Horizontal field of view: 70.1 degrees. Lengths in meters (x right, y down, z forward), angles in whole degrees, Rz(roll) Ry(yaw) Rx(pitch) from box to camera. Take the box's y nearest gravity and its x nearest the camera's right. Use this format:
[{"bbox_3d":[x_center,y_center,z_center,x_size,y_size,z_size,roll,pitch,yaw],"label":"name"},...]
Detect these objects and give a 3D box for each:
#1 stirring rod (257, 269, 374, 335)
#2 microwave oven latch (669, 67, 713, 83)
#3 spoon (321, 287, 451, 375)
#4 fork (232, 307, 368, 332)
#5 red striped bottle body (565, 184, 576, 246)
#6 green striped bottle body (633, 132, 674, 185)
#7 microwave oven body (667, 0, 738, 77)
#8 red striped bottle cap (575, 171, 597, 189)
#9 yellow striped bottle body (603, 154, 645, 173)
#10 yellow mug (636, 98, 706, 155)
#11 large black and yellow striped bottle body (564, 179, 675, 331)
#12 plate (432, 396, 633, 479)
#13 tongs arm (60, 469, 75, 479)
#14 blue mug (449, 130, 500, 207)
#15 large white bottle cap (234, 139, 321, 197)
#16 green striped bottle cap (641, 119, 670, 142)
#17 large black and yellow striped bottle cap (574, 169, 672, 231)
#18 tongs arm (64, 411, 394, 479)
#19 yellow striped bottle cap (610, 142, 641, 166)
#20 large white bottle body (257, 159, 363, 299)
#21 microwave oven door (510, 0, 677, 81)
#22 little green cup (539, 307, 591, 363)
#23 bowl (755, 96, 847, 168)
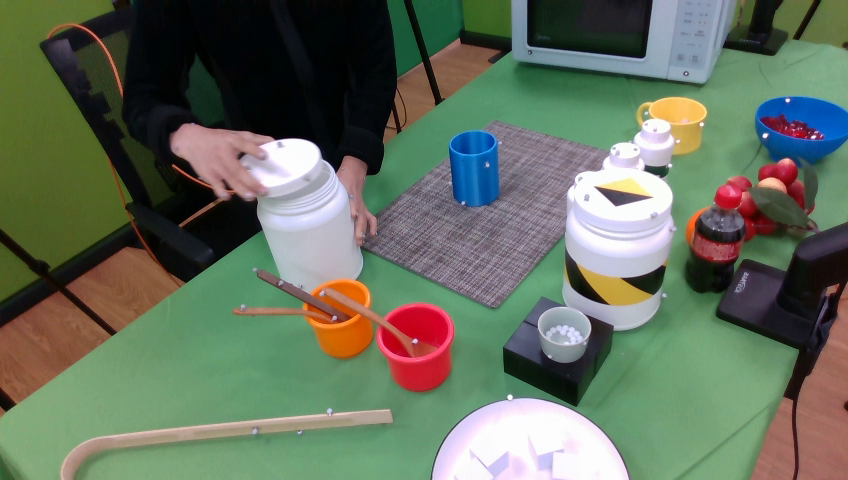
[{"bbox_3d":[-0.143,0.084,0.808,0.177,0.006,0.014,30,43,-19],"label":"stirring rod"},{"bbox_3d":[0.556,-0.348,1.262,0.078,0.029,0.030,15,46,26],"label":"microwave oven latch"},{"bbox_3d":[-0.046,0.111,0.757,0.194,0.021,0.041,38,46,-15],"label":"spoon"},{"bbox_3d":[-0.152,0.101,0.781,0.209,0.018,0.028,18,19,-45],"label":"fork"},{"bbox_3d":[0.247,-0.041,0.910,0.063,0.120,0.062,-3,39,3],"label":"red striped bottle body"},{"bbox_3d":[0.376,-0.135,1.001,0.063,0.120,0.063,-5,41,5],"label":"green striped bottle body"},{"bbox_3d":[0.462,-0.552,1.369,0.439,0.261,0.326,15,45,26],"label":"microwave oven body"},{"bbox_3d":[0.242,-0.081,0.876,0.044,0.018,0.044,-5,44,5],"label":"red striped bottle cap"},{"bbox_3d":[0.314,-0.091,0.957,0.063,0.121,0.062,-4,40,4],"label":"yellow striped bottle body"},{"bbox_3d":[0.453,-0.217,1.128,0.100,0.064,0.129,-34,46,-27],"label":"yellow mug"},{"bbox_3d":[0.253,0.014,0.793,0.131,0.185,0.130,-5,40,4],"label":"large black and yellow striped bottle body"},{"bbox_3d":[0.112,0.261,0.634,0.209,0.038,0.208,-5,40,4],"label":"plate"},{"bbox_3d":[-0.238,0.303,0.649,0.386,0.028,0.028,6,50,16],"label":"tongs arm"},{"bbox_3d":[0.089,-0.132,1.049,0.082,0.106,0.116,0,40,9],"label":"blue mug"},{"bbox_3d":[-0.195,-0.098,0.808,0.115,0.018,0.114,-5,40,5],"label":"large white bottle cap"},{"bbox_3d":[0.371,-0.175,0.968,0.044,0.020,0.044,-4,42,4],"label":"green striped bottle cap"},{"bbox_3d":[0.242,-0.051,0.738,0.115,0.019,0.114,-4,37,3],"label":"large black and yellow striped bottle cap"},{"bbox_3d":[-0.228,0.242,0.715,0.385,0.026,0.050,-5,44,4],"label":"tongs arm"},{"bbox_3d":[0.308,-0.131,0.925,0.044,0.019,0.044,-4,45,5],"label":"yellow striped bottle cap"},{"bbox_3d":[-0.169,-0.018,0.896,0.130,0.185,0.130,-4,40,4],"label":"large white bottle body"},{"bbox_3d":[0.353,-0.478,1.290,0.353,0.245,0.039,15,45,25],"label":"microwave oven door"},{"bbox_3d":[0.167,0.114,0.721,0.061,0.039,0.061,-4,43,4],"label":"little green cup"},{"bbox_3d":[0.645,-0.177,1.041,0.151,0.077,0.150,-5,40,4],"label":"bowl"}]
